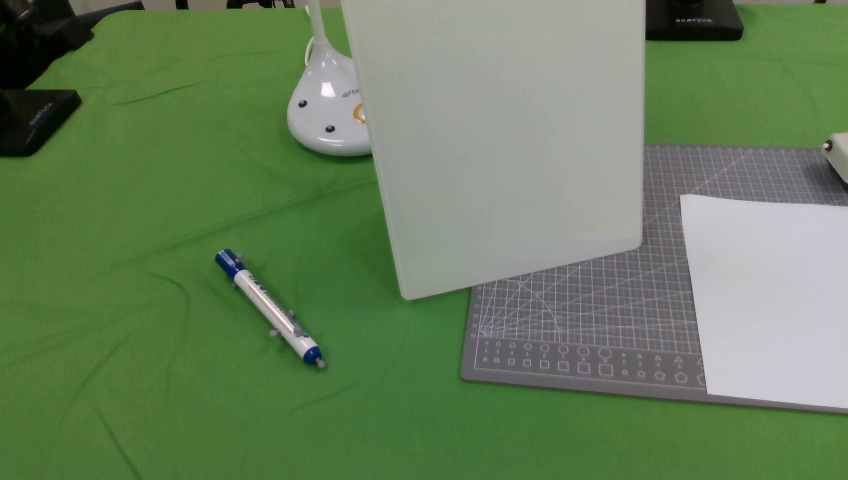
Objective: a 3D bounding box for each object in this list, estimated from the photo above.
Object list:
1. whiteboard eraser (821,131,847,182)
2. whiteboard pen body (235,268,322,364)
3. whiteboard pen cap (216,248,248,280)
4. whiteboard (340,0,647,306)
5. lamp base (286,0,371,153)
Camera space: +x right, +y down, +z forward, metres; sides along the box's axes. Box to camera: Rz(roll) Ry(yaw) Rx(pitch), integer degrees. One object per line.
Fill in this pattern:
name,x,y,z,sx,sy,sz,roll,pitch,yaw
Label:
whiteboard eraser,0.435,-0.077,0.557,0.112,0.042,0.055,-4,47,3
whiteboard pen body,-0.131,0.055,0.512,0.017,0.017,0.139,-35,56,-24
whiteboard pen cap,-0.170,0.023,0.541,0.018,0.018,0.033,-35,58,-24
whiteboard,0.053,-0.131,0.512,0.217,0.308,0.142,-12,27,-4
lamp base,-0.094,-0.213,0.652,0.160,0.182,0.177,-33,49,-23
